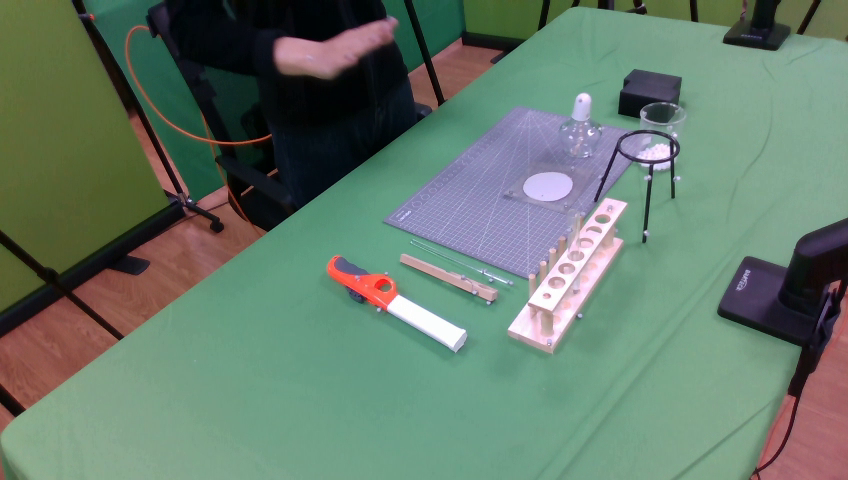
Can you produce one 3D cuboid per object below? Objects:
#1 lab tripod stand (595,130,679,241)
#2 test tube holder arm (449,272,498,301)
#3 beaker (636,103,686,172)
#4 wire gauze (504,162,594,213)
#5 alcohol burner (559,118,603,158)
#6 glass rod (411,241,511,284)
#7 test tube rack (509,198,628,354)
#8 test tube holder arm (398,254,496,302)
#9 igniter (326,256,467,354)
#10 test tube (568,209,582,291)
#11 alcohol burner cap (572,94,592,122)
[{"bbox_3d":[0.342,-0.095,0.943,0.148,0.132,0.147,-4,39,4],"label":"lab tripod stand"},{"bbox_3d":[0.070,0.068,0.894,0.087,0.015,0.010,21,13,32],"label":"test tube holder arm"},{"bbox_3d":[0.413,-0.177,1.055,0.084,0.101,0.073,-28,44,-21],"label":"beaker"},{"bbox_3d":[0.220,-0.098,1.065,0.124,0.011,0.122,17,47,32],"label":"wire gauze"},{"bbox_3d":[0.287,-0.212,1.104,0.078,0.119,0.077,-4,40,4],"label":"alcohol burner"},{"bbox_3d":[0.053,0.034,0.946,0.198,0.008,0.008,22,50,36],"label":"glass rod"},{"bbox_3d":[0.206,0.039,0.850,0.066,0.085,0.243,20,48,31],"label":"test tube rack"},{"bbox_3d":[0.031,0.055,0.913,0.177,0.015,0.013,21,13,31],"label":"test tube holder arm"},{"bbox_3d":[-0.051,0.088,0.886,0.274,0.025,0.057,27,62,35],"label":"igniter"},{"bbox_3d":[0.200,0.017,0.799,0.017,0.151,0.017,-8,45,8],"label":"test tube"},{"bbox_3d":[0.284,-0.238,1.079,0.034,0.048,0.033,-1,48,2],"label":"alcohol burner cap"}]
